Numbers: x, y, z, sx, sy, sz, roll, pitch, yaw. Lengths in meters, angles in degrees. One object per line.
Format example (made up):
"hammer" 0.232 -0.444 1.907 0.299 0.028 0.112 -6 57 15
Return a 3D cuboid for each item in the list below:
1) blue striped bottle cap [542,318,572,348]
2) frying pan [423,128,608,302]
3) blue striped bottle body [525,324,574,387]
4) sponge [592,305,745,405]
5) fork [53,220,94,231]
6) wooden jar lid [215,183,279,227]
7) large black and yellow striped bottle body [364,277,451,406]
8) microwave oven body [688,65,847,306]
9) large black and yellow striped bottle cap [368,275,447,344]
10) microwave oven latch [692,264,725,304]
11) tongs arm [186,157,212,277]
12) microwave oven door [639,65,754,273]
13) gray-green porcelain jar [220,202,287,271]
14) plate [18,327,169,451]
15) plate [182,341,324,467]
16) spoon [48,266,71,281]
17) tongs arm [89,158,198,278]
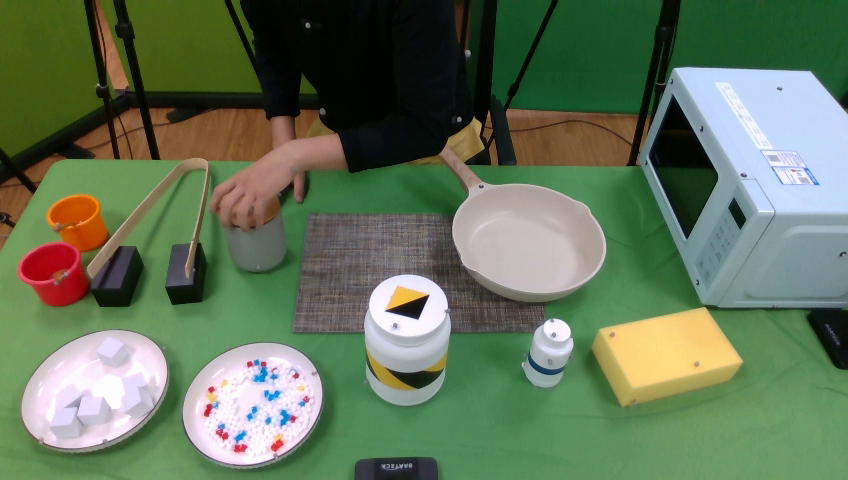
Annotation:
"blue striped bottle cap" 0.205 0.143 0.933 0.044 0.021 0.044 0 47 0
"frying pan" 0.142 -0.069 1.208 0.307 0.103 0.485 -23 61 -25
"blue striped bottle body" 0.202 0.179 0.970 0.063 0.121 0.062 2 46 -2
"sponge" 0.405 0.189 1.014 0.207 0.061 0.117 -10 48 -12
"fork" -0.627 -0.026 1.086 0.028 0.207 0.018 0 91 -15
"wooden jar lid" -0.309 -0.060 1.063 0.108 0.021 0.107 5 42 -5
"large black and yellow striped bottle body" -0.026 0.155 0.933 0.131 0.185 0.130 2 47 -2
"microwave oven body" 0.669 -0.111 1.176 0.326 0.261 0.439 0 46 -3
"large black and yellow striped bottle cap" -0.024 0.098 0.871 0.115 0.019 0.114 2 45 -2
"microwave oven latch" 0.522 0.081 1.116 0.030 0.029 0.078 1 46 -2
"tongs arm" -0.445 -0.058 1.168 0.051 0.026 0.382 -5 37 -6
"microwave oven door" 0.522 -0.147 1.192 0.039 0.245 0.353 0 47 -3
"gray-green porcelain jar" -0.309 -0.014 1.113 0.106 0.127 0.105 2 47 -2
"plate" -0.498 0.229 0.929 0.208 0.039 0.206 2 47 -2
"plate" -0.257 0.250 0.927 0.209 0.038 0.208 3 46 -2
"spoon" -0.609 0.057 1.010 0.041 0.022 0.193 -33 14 -27
"tongs arm" -0.530 -0.057 1.164 0.028 0.028 0.385 1 36 8
